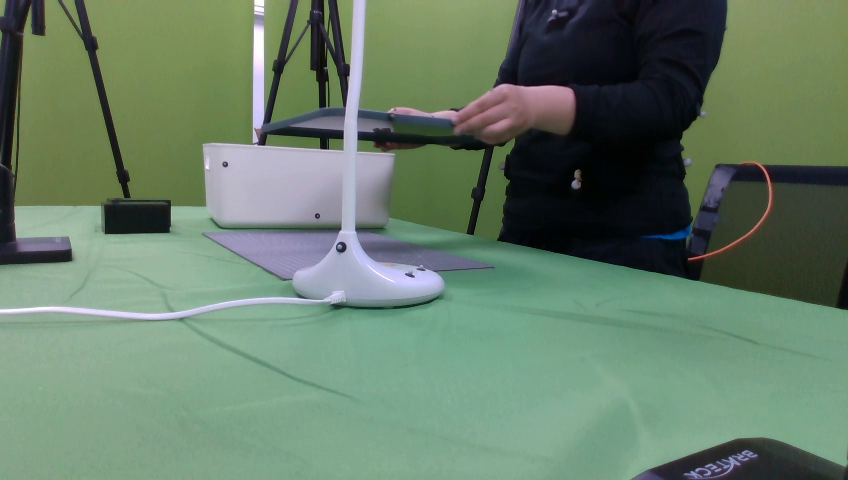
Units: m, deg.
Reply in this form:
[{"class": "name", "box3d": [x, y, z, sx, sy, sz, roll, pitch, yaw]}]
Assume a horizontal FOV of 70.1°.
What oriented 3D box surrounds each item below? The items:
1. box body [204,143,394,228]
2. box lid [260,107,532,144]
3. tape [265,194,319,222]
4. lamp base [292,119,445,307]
[{"class": "box body", "box3d": [-0.271, -0.117, 1.292, 0.366, 0.160, 0.253, -1, 8, -25]}, {"class": "box lid", "box3d": [-0.043, -0.171, 0.948, 0.373, 0.015, 0.262, -3, 5, -35]}, {"class": "tape", "box3d": [-0.284, -0.069, 1.298, 0.117, 0.052, 0.117, 3, 7, 0]}, {"class": "lamp base", "box3d": [-0.056, -0.030, 0.616, 0.160, 0.180, 0.179, 3, 10, 8]}]
